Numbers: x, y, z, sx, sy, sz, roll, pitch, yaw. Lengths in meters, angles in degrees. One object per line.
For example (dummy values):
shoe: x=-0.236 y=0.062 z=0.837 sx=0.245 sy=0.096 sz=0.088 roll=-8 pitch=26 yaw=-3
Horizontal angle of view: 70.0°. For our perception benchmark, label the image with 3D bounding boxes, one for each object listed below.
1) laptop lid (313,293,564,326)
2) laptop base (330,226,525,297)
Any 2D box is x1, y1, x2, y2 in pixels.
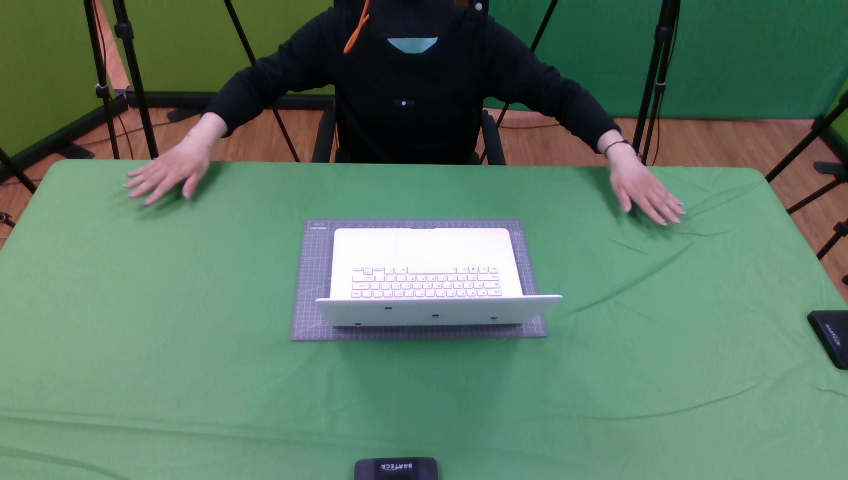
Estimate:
laptop lid: x=0.017 y=0.112 z=0.945 sx=0.357 sy=0.242 sz=0.013 roll=0 pitch=74 yaw=-5
laptop base: x=0.005 y=0.061 z=1.136 sx=0.355 sy=0.023 sz=0.234 roll=-1 pitch=43 yaw=-4
